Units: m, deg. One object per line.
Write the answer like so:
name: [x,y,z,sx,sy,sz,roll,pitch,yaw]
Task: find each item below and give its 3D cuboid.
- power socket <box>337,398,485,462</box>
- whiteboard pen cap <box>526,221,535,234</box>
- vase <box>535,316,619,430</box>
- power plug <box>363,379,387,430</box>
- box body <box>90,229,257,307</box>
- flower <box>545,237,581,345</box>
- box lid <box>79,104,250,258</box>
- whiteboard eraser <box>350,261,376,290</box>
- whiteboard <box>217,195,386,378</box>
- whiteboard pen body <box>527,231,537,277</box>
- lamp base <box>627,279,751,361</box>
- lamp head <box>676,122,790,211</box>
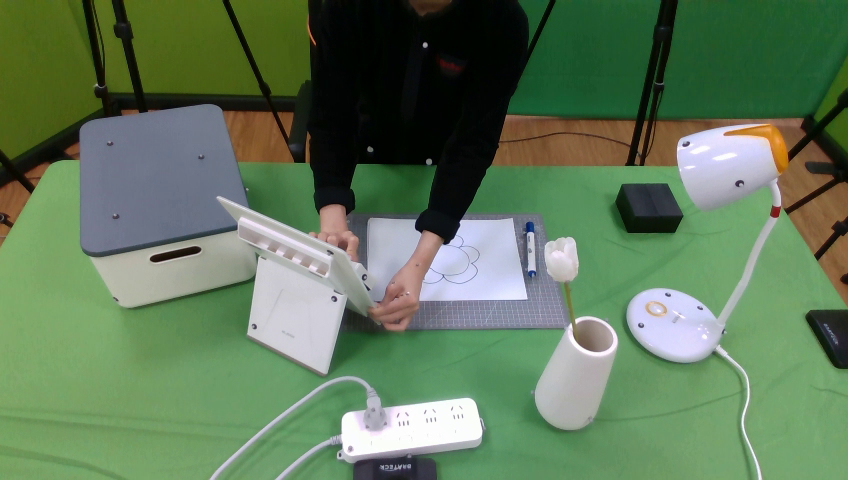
power socket: [-0.018,0.285,0.914,0.227,0.033,0.071,-4,46,-8]
whiteboard pen cap: [0.216,-0.022,1.233,0.018,0.018,0.033,6,45,2]
vase: [0.229,0.200,0.900,0.098,0.201,0.097,3,46,-3]
power plug: [-0.071,0.252,0.911,0.035,0.053,0.072,3,40,0]
box body: [-0.471,-0.070,1.131,0.254,0.161,0.361,-14,49,-17]
flower: [0.213,0.137,0.846,0.038,0.364,0.044,21,55,39]
box lid: [-0.467,-0.120,1.075,0.264,0.015,0.369,-13,49,-17]
whiteboard eraser: [-0.135,0.056,0.998,0.112,0.056,0.041,11,64,44]
whiteboard: [-0.212,0.094,0.937,0.216,0.307,0.143,24,70,17]
whiteboard pen body: [0.211,0.018,1.191,0.017,0.017,0.140,6,44,2]
lamp base: [0.460,0.100,1.027,0.178,0.181,0.160,27,51,17]
lamp head: [0.423,-0.104,0.819,0.122,0.113,0.112,-13,33,40]
